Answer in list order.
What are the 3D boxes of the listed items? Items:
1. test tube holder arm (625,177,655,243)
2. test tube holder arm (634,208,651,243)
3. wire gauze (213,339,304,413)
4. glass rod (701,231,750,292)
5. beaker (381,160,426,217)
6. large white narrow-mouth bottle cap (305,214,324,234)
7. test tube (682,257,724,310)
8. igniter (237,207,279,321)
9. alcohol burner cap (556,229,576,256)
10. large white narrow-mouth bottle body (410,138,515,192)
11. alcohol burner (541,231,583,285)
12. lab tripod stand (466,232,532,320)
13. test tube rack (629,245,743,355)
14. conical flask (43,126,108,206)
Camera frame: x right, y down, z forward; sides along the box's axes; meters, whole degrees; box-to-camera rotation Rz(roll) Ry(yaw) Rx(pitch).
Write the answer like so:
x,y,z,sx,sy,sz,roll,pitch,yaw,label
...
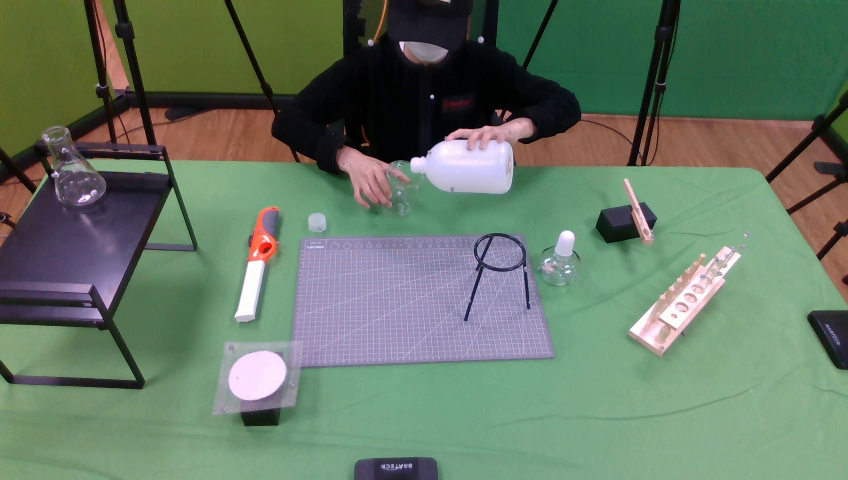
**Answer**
x,y,z,sx,sy,sz,roll,pitch,yaw,label
0.433,-0.063,1.220,0.013,0.015,0.177,1,47,-3,test tube holder arm
0.428,-0.030,1.189,0.010,0.015,0.087,1,47,-2,test tube holder arm
-0.250,0.203,0.924,0.121,0.011,0.124,-1,46,-3,wire gauze
0.519,0.045,1.050,0.008,0.201,0.008,0,55,0,glass rod
-0.044,-0.102,1.233,0.084,0.100,0.073,1,51,-14,beaker
-0.219,-0.033,1.214,0.038,0.024,0.037,2,46,-2,large white narrow-mouth bottle cap
0.475,0.080,1.037,0.017,0.151,0.017,2,51,-2,test tube
-0.309,0.036,1.136,0.057,0.025,0.274,-7,45,5,igniter
0.260,0.002,1.098,0.034,0.048,0.033,3,40,-2,alcohol burner cap
0.069,-0.142,1.152,0.194,0.102,0.101,3,44,19,large white narrow-mouth bottle body
0.258,0.028,1.123,0.078,0.120,0.077,1,48,-1,alcohol burner
0.125,0.059,1.065,0.148,0.132,0.147,1,45,0,lab tripod stand
0.474,0.095,1.091,0.242,0.085,0.066,-34,56,-31,test tube rack
-0.555,-0.119,0.953,0.075,0.122,0.075,2,46,-2,conical flask
